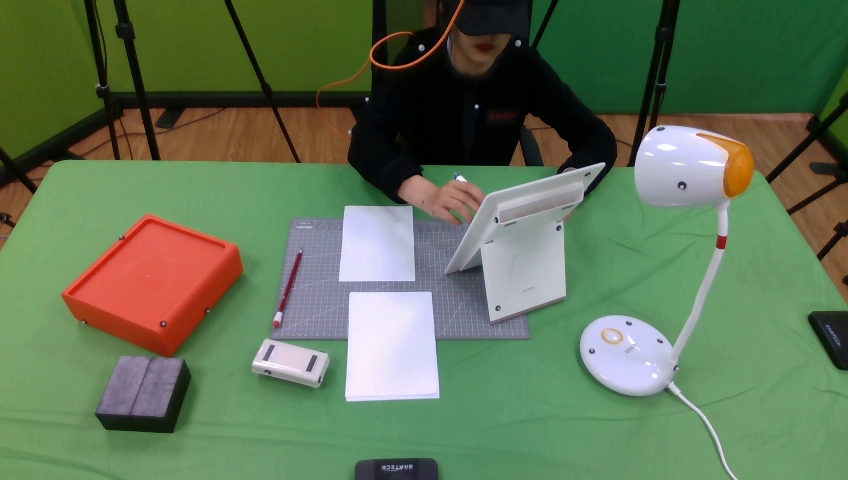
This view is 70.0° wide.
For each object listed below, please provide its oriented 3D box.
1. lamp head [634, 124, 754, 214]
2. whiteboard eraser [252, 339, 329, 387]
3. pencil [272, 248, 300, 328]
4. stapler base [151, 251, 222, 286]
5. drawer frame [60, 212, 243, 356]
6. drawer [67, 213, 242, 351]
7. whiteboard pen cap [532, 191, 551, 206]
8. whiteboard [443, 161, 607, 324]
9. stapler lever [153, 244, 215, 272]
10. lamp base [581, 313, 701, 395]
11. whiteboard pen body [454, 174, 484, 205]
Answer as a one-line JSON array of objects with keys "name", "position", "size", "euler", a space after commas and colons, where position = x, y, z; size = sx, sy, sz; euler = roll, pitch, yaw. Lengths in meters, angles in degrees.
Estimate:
[{"name": "lamp head", "position": [0.351, -0.089, 0.776], "size": [0.112, 0.113, 0.122], "euler": [-30, 30, -28]}, {"name": "whiteboard eraser", "position": [-0.215, 0.199, 0.976], "size": [0.112, 0.042, 0.055], "euler": [12, 45, 7]}, {"name": "pencil", "position": [-0.248, 0.081, 1.104], "size": [0.012, 0.012, 0.193], "euler": [6, 45, 1]}, {"name": "stapler base", "position": [-0.432, 0.047, 1.102], "size": [0.130, 0.024, 0.041], "euler": [17, 33, 12]}, {"name": "drawer frame", "position": [-0.462, 0.070, 1.053], "size": [0.201, 0.083, 0.213], "euler": [18, 48, 12]}, {"name": "drawer", "position": [-0.461, 0.068, 1.056], "size": [0.194, 0.073, 0.211], "euler": [19, 48, 13]}, {"name": "whiteboard pen cap", "position": [0.226, -0.080, 1.166], "size": [0.033, 0.018, 0.018], "euler": [30, 45, -14]}, {"name": "whiteboard", "position": [0.185, 0.026, 1.028], "size": [0.217, 0.306, 0.143], "euler": [-15, 68, -18]}, {"name": "stapler lever", "position": [-0.430, 0.025, 1.088], "size": [0.118, 0.040, 0.027], "euler": [16, 33, 13]}, {"name": "lamp base", "position": [0.361, 0.144, 0.973], "size": [0.178, 0.181, 0.160], "euler": [34, 53, 23]}, {"name": "whiteboard pen body", "position": [0.097, -0.073, 1.072], "size": [0.017, 0.017, 0.140], "euler": [-24, 53, -24]}]
